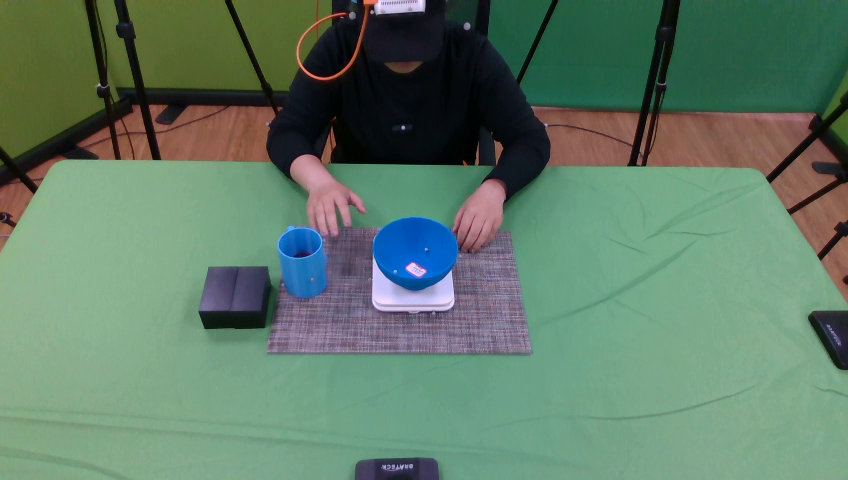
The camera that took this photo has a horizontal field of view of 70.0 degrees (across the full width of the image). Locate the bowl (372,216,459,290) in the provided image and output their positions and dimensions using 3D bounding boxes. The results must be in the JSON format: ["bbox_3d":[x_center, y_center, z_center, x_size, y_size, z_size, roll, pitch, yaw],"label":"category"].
[{"bbox_3d":[-0.016,0.036,1.075,0.151,0.077,0.150,1,46,-1],"label":"bowl"}]

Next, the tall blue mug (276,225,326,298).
[{"bbox_3d":[-0.228,0.033,1.083,0.107,0.108,0.077,30,52,23],"label":"tall blue mug"}]

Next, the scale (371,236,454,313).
[{"bbox_3d":[-0.022,0.051,1.134,0.149,0.032,0.199,1,46,-4],"label":"scale"}]
